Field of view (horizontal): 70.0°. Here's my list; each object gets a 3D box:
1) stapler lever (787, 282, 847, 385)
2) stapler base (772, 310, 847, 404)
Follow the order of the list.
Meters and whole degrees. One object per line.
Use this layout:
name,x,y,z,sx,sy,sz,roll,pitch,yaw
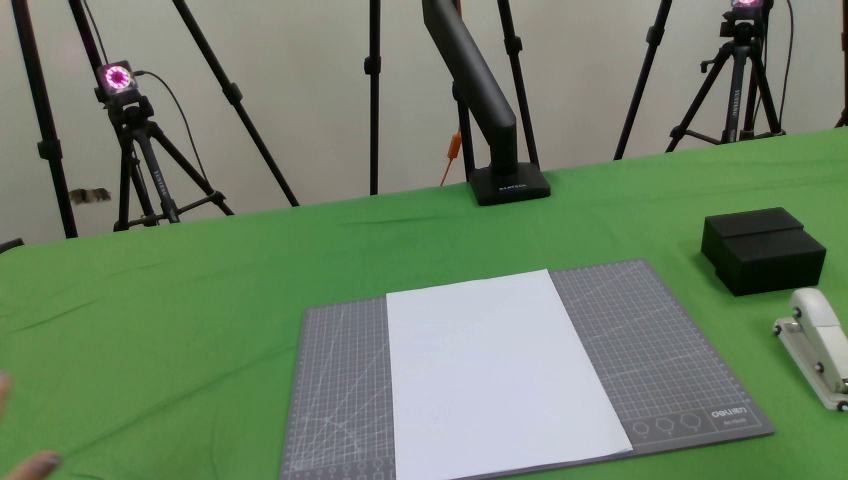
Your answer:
stapler lever,0.390,0.086,0.587,0.027,0.040,0.117,-6,33,7
stapler base,0.393,0.107,0.603,0.041,0.024,0.129,-6,33,7
